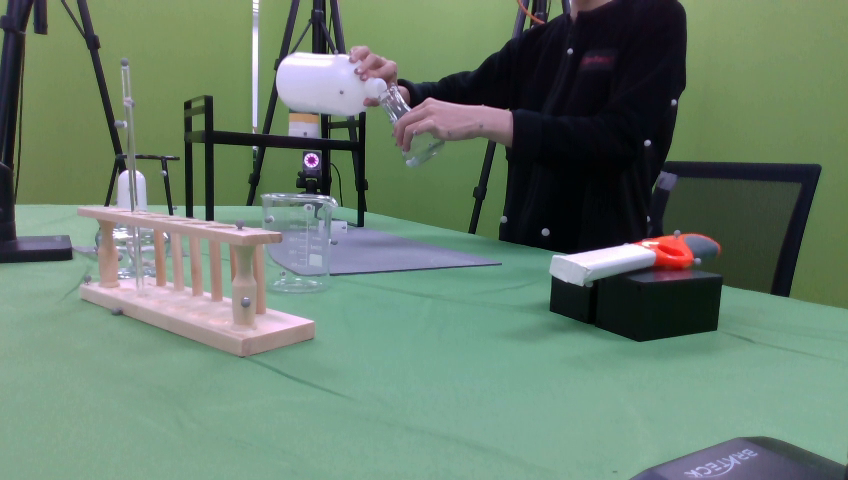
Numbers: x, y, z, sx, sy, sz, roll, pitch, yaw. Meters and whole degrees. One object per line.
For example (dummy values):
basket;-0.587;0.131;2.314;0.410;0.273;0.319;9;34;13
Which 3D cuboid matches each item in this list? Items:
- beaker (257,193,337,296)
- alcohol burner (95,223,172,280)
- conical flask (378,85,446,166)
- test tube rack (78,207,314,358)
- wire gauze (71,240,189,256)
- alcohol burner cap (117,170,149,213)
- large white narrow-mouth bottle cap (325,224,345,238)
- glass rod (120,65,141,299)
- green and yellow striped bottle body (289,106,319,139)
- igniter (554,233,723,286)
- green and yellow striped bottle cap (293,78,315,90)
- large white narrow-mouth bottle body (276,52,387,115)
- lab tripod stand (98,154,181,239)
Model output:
beaker;-0.130;0.003;0.628;0.084;0.100;0.074;5;8;15
alcohol burner;-0.320;-0.017;0.667;0.078;0.119;0.078;0;7;0
conical flask;-0.026;-0.183;0.954;0.075;0.122;0.075;-34;-4;-2
test tube rack;-0.196;0.024;0.500;0.241;0.085;0.067;8;8;37
wire gauze;-0.399;0.013;0.820;0.126;0.011;0.121;-3;8;-37
alcohol burner cap;-0.320;-0.052;0.661;0.034;0.048;0.034;-3;0;0
large white narrow-mouth bottle cap;-0.160;-0.017;1.090;0.038;0.024;0.037;3;9;0
glass rod;-0.248;-0.047;0.513;0.008;0.199;0.008;-1;3;0
green and yellow striped bottle body;-0.250;-0.272;1.261;0.063;0.119;0.063;3;7;0
igniter;0.214;0.015;0.570;0.278;0.025;0.057;-5;22;-44
green and yellow striped bottle cap;-0.248;-0.323;1.256;0.045;0.020;0.045;4;8;0
large white narrow-mouth bottle body;-0.147;-0.259;1.008;0.194;0.101;0.102;14;13;32
lab tripod stand;-0.427;-0.066;0.942;0.148;0.131;0.148;1;6;0
